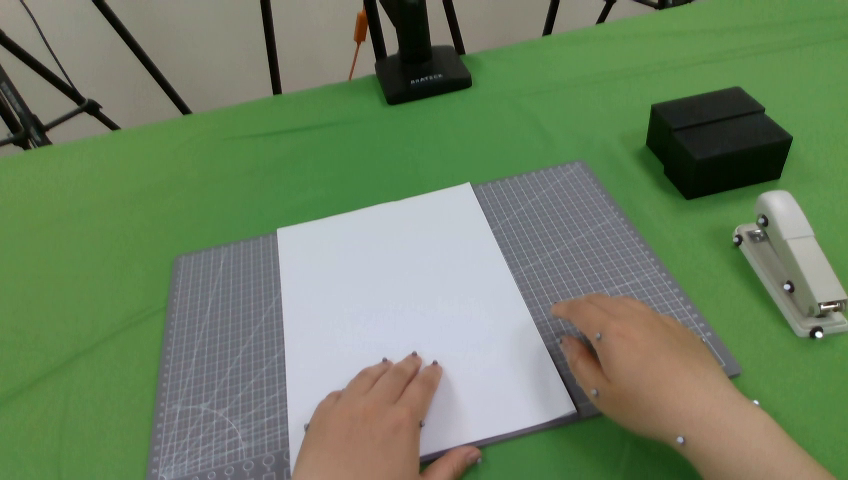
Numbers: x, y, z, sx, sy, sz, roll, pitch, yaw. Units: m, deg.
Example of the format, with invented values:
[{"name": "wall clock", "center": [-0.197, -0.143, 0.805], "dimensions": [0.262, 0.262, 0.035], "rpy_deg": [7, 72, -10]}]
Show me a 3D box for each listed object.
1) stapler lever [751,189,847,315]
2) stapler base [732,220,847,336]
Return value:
[{"name": "stapler lever", "center": [0.304, 0.005, 0.492], "dimensions": [0.027, 0.040, 0.117], "rpy_deg": [-10, 44, 3]}, {"name": "stapler base", "center": [0.307, 0.022, 0.511], "dimensions": [0.041, 0.025, 0.129], "rpy_deg": [-10, 45, 3]}]
